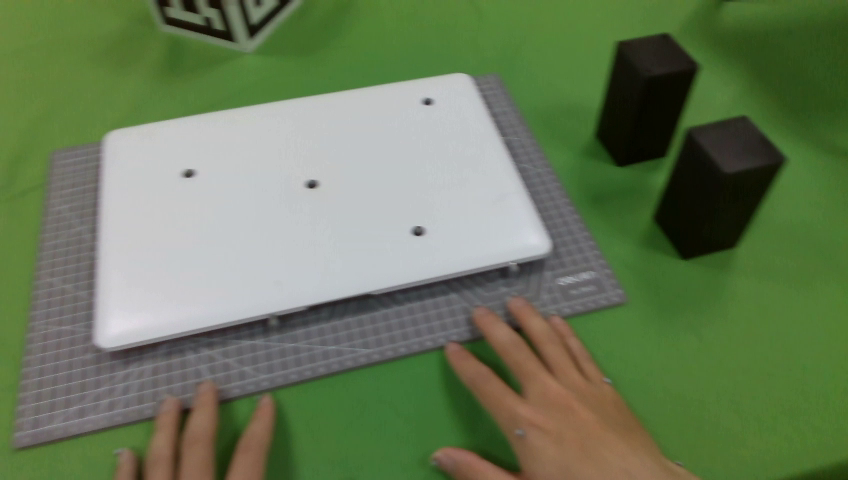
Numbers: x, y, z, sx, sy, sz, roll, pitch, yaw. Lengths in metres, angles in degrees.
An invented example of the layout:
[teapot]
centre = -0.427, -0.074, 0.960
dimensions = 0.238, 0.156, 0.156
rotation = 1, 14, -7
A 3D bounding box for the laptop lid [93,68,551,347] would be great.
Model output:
[laptop lid]
centre = -0.094, -0.048, 0.519
dimensions = 0.357, 0.013, 0.239
rotation = -11, 55, -7

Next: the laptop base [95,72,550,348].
[laptop base]
centre = -0.094, -0.042, 0.531
dimensions = 0.355, 0.023, 0.233
rotation = -12, 56, -8
